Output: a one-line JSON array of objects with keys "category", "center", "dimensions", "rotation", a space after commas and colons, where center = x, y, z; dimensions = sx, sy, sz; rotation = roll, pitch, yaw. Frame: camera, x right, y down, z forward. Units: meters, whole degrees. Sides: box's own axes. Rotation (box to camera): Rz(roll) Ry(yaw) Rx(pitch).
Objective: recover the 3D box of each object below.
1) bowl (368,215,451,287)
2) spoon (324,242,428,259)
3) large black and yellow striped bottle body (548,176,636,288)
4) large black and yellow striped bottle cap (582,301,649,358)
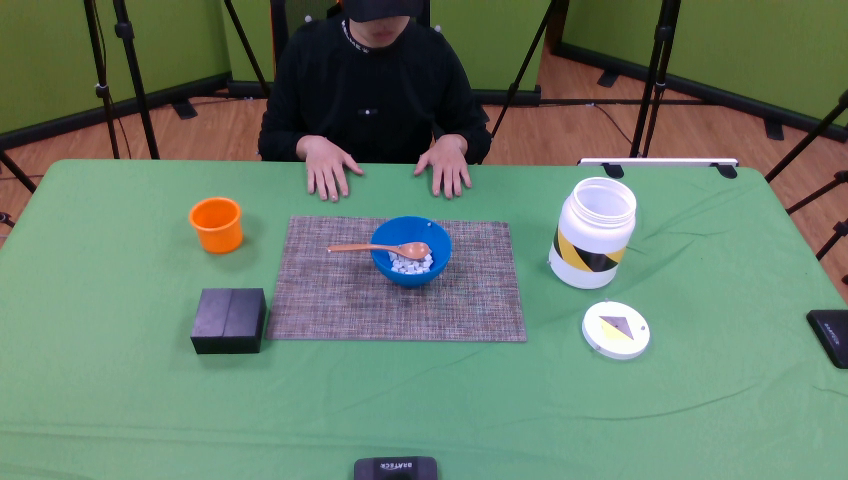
[{"category": "bowl", "center": [-0.028, 0.033, 1.119], "dimensions": [0.151, 0.077, 0.150], "rotation": [2, 46, -2]}, {"category": "spoon", "center": [-0.083, 0.015, 1.085], "dimensions": [0.194, 0.022, 0.041], "rotation": [4, 46, -26]}, {"category": "large black and yellow striped bottle body", "center": [0.310, -0.014, 1.123], "dimensions": [0.131, 0.185, 0.130], "rotation": [2, 46, -2]}, {"category": "large black and yellow striped bottle cap", "center": [0.340, 0.157, 1.077], "dimensions": [0.115, 0.019, 0.114], "rotation": [1, 47, -1]}]
